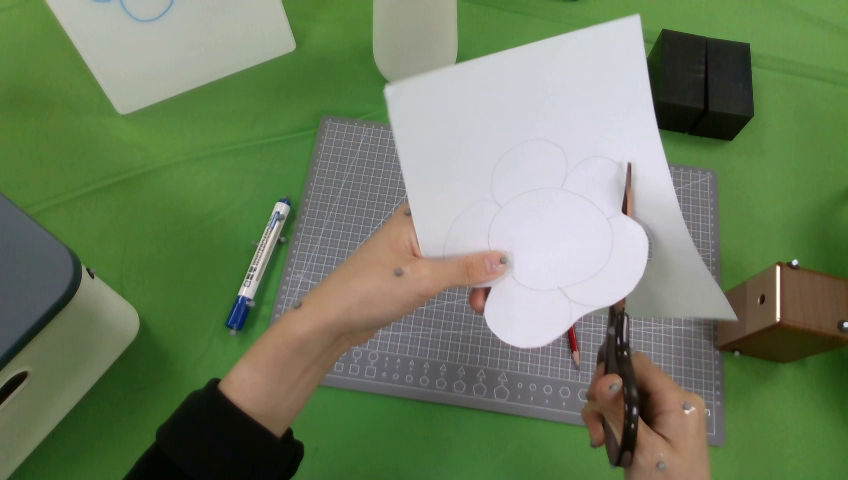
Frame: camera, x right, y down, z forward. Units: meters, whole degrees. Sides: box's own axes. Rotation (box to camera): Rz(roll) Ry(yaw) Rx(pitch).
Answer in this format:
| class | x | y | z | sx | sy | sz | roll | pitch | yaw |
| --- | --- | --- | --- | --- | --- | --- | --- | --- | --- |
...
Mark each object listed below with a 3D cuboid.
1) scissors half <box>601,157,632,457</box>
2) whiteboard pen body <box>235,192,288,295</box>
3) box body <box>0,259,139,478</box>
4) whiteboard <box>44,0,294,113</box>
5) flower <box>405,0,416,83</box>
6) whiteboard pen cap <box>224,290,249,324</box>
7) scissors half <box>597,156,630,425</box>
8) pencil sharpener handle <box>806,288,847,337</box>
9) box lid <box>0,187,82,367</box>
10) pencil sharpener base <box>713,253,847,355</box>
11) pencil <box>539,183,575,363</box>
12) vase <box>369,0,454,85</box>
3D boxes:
| class | x | y | z | sx | sy | sz | roll | pitch | yaw |
| --- | --- | --- | --- | --- | --- | --- | --- | --- | --- |
| scissors half | 0.114 | 0.039 | 0.351 | 0.013 | 0.040 | 0.175 | 2 | 88 | 6 |
| whiteboard pen body | -0.169 | 0.013 | 0.620 | 0.017 | 0.017 | 0.140 | 15 | 67 | 5 |
| box body | -0.474 | 0.043 | 0.522 | 0.362 | 0.161 | 0.253 | 34 | 72 | 11 |
| whiteboard | -0.300 | -0.329 | 0.629 | 0.217 | 0.308 | 0.142 | -25 | 52 | -10 |
| flower | -0.017 | -0.299 | 0.561 | 0.044 | 0.365 | 0.038 | 1 | 51 | 3 |
| whiteboard pen cap | -0.183 | 0.065 | 0.597 | 0.018 | 0.018 | 0.033 | 14 | 65 | 4 |
| scissors half | 0.118 | 0.036 | 0.372 | 0.013 | 0.040 | 0.176 | 3 | 112 | 11 |
| pencil sharpener handle | 0.384 | 0.071 | 0.557 | 0.030 | 0.068 | 0.035 | 12 | 62 | 0 |
| box lid | -0.474 | 0.014 | 0.453 | 0.370 | 0.015 | 0.262 | 34 | 71 | 11 |
| pencil sharpener base | 0.334 | 0.063 | 0.568 | 0.077 | 0.107 | 0.061 | 12 | 68 | 0 |
| pencil | 0.138 | 0.030 | 0.626 | 0.012 | 0.012 | 0.192 | -5 | 71 | -3 |
| vase | -0.014 | -0.255 | 0.633 | 0.098 | 0.201 | 0.097 | 0 | 67 | 0 |
